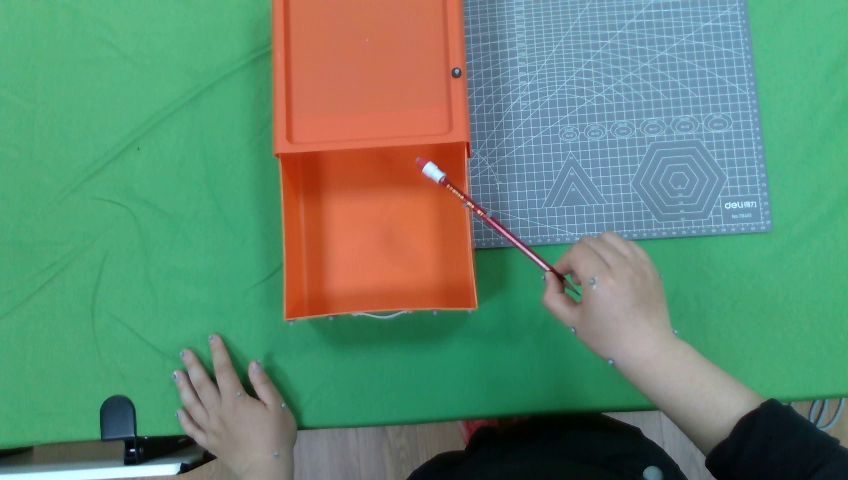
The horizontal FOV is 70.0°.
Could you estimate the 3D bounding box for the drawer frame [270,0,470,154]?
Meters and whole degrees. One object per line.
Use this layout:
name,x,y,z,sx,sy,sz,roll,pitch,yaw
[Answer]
drawer frame,-0.057,-0.194,0.643,0.201,0.083,0.213,-4,83,5

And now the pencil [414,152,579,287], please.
pencil,0.065,-0.020,0.556,0.193,0.012,0.012,40,89,12

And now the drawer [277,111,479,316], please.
drawer,-0.047,-0.030,0.631,0.194,0.073,0.211,-4,86,6
